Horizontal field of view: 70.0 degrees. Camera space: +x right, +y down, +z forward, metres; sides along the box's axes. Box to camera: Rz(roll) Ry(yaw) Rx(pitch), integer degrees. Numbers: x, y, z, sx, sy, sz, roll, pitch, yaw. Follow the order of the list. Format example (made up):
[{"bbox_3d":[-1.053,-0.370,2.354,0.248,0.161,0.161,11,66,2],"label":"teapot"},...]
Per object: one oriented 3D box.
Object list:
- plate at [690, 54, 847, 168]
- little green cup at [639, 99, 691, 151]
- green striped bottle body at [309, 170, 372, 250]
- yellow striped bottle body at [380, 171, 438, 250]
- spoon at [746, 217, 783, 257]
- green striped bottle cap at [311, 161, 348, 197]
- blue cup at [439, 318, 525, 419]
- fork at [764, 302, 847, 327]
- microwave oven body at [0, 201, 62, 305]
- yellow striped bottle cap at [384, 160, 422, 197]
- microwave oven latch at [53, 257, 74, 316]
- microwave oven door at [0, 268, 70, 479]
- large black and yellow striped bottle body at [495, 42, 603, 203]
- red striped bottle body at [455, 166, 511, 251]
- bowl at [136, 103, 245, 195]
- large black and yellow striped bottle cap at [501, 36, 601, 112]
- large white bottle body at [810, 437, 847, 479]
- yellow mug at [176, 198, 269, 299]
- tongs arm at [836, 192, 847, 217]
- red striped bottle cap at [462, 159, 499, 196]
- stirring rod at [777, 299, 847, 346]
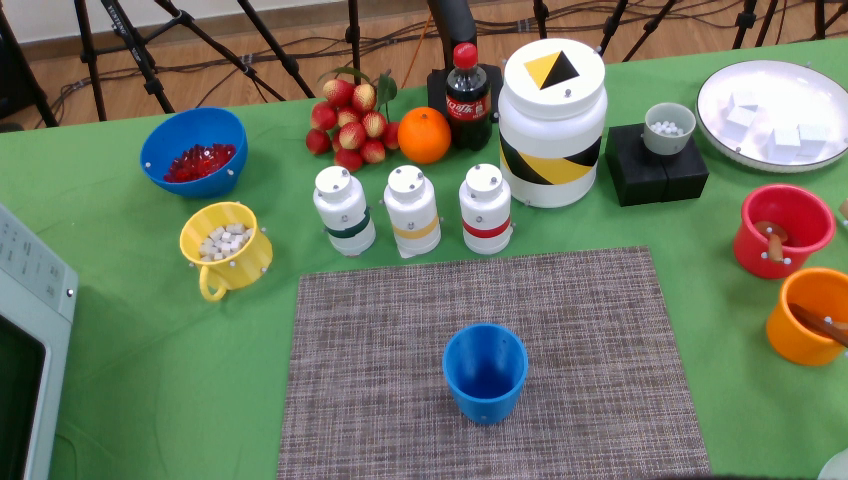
[{"bbox_3d":[0.476,-0.176,0.840,0.209,0.038,0.207,-3,56,5],"label":"plate"},{"bbox_3d":[0.308,-0.147,0.781,0.061,0.039,0.061,-3,54,4],"label":"little green cup"},{"bbox_3d":[-0.108,-0.044,0.778,0.063,0.120,0.062,-3,56,5],"label":"green striped bottle body"},{"bbox_3d":[-0.019,-0.045,0.766,0.063,0.121,0.062,-4,55,6],"label":"yellow striped bottle body"},{"bbox_3d":[0.381,-0.006,0.673,0.041,0.194,0.022,24,107,22],"label":"spoon"},{"bbox_3d":[-0.115,-0.074,0.735,0.044,0.020,0.044,-2,55,4],"label":"green striped bottle cap"},{"bbox_3d":[0.061,0.143,0.635,0.092,0.101,0.092,-3,55,4],"label":"blue cup"},{"bbox_3d":[0.436,0.086,0.600,0.028,0.019,0.206,-31,13,-19],"label":"fork"},{"bbox_3d":[-0.596,0.181,0.600,0.326,0.262,0.437,-13,56,-2],"label":"microwave oven body"},{"bbox_3d":[-0.025,-0.074,0.724,0.044,0.019,0.044,-3,57,5],"label":"yellow striped bottle cap"},{"bbox_3d":[-0.475,0.062,0.783,0.030,0.030,0.078,-13,56,-2],"label":"microwave oven latch"},{"bbox_3d":[-0.445,0.179,0.575,0.039,0.246,0.352,-13,55,-1],"label":"microwave oven door"},{"bbox_3d":[0.157,-0.150,0.775,0.130,0.186,0.129,-4,56,6],"label":"large black and yellow striped bottle body"},{"bbox_3d":[0.074,-0.044,0.754,0.063,0.121,0.062,-6,54,9],"label":"red striped bottle body"},{"bbox_3d":[-0.326,-0.119,0.882,0.151,0.077,0.150,-3,56,5],"label":"bowl"},{"bbox_3d":[0.147,-0.195,0.705,0.115,0.019,0.114,-4,55,6],"label":"large black and yellow striped bottle cap"},{"bbox_3d":[0.423,0.205,0.498,0.130,0.186,0.129,-3,55,5],"label":"large white bottle body"},{"bbox_3d":[-0.266,0.015,0.791,0.100,0.064,0.130,4,57,9],"label":"yellow mug"},{"bbox_3d":[0.585,0.092,0.645,0.051,0.027,0.380,-15,56,-5],"label":"tongs arm"},{"bbox_3d":[0.066,-0.074,0.711,0.044,0.018,0.044,-1,54,2],"label":"red striped bottle cap"},{"bbox_3d":[0.408,0.089,0.611,0.014,0.006,0.175,-3,12,3],"label":"stirring rod"}]
